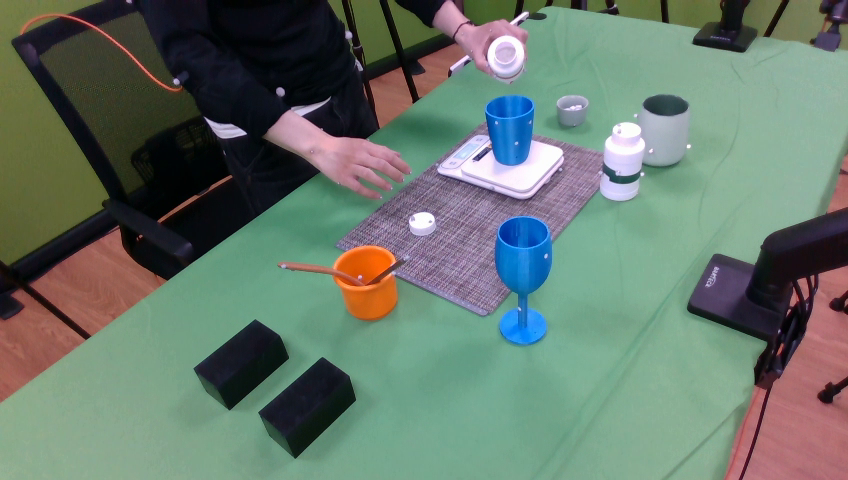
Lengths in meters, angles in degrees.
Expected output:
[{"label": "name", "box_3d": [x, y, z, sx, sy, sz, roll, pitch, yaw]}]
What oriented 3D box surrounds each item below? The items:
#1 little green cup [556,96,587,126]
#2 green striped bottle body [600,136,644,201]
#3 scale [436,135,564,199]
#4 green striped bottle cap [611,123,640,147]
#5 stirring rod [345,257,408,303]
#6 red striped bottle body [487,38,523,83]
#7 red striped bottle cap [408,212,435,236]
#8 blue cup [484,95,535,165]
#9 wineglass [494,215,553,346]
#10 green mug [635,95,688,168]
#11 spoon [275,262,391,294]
[{"label": "little green cup", "box_3d": [0.295, -0.258, 1.214, 0.061, 0.039, 0.061, -5, 41, 5]}, {"label": "green striped bottle body", "box_3d": [0.326, -0.128, 0.997, 0.063, 0.120, 0.063, -4, 41, 4]}, {"label": "scale", "box_3d": [0.137, -0.142, 1.101, 0.199, 0.032, 0.149, 22, 48, 30]}, {"label": "green striped bottle cap", "box_3d": [0.322, -0.168, 0.963, 0.044, 0.020, 0.044, -3, 41, 3]}, {"label": "stirring rod", "box_3d": [-0.067, 0.057, 0.815, 0.014, 0.175, 0.006, -24, 82, -38]}, {"label": "red striped bottle body", "box_3d": [0.143, -0.316, 1.061, 0.063, 0.063, 0.120, 0, 6, 9]}, {"label": "red striped bottle cap", "box_3d": [-0.004, -0.027, 0.999, 0.044, 0.018, 0.044, -4, 45, 5]}, {"label": "blue cup", "box_3d": [0.150, -0.188, 1.053, 0.092, 0.100, 0.092, -6, 39, 5]}, {"label": "wineglass", "box_3d": [0.127, 0.055, 0.770, 0.074, 0.173, 0.073, -4, 40, 4]}, {"label": "green mug", "box_3d": [0.421, -0.201, 1.081, 0.092, 0.105, 0.125, 5, 42, 15]}, {"label": "spoon", "box_3d": [-0.120, 0.050, 0.830, 0.041, 0.195, 0.021, 31, 96, 45]}]
